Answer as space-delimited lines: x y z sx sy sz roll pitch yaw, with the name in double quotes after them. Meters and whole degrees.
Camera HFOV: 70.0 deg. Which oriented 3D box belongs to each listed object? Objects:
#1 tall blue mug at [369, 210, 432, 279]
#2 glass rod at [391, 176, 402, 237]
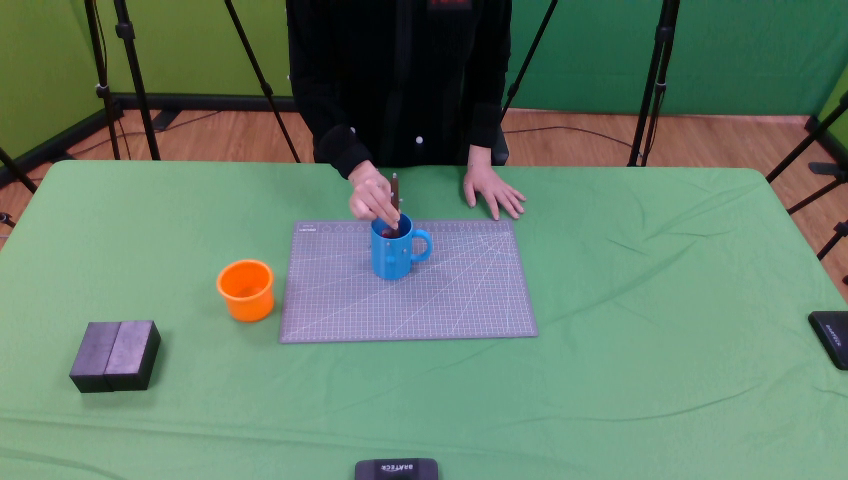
-0.048 0.005 1.125 0.107 0.108 0.077 -19 50 -21 "tall blue mug"
-0.045 -0.030 1.066 0.008 0.201 0.008 -3 41 3 "glass rod"
